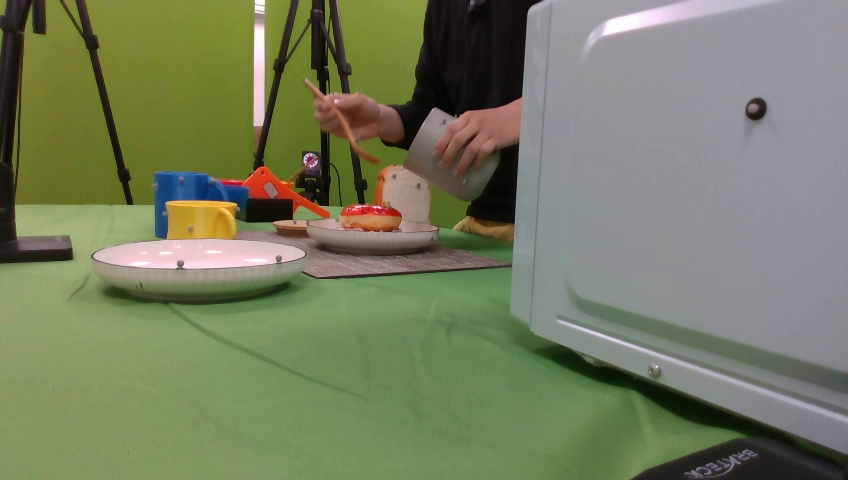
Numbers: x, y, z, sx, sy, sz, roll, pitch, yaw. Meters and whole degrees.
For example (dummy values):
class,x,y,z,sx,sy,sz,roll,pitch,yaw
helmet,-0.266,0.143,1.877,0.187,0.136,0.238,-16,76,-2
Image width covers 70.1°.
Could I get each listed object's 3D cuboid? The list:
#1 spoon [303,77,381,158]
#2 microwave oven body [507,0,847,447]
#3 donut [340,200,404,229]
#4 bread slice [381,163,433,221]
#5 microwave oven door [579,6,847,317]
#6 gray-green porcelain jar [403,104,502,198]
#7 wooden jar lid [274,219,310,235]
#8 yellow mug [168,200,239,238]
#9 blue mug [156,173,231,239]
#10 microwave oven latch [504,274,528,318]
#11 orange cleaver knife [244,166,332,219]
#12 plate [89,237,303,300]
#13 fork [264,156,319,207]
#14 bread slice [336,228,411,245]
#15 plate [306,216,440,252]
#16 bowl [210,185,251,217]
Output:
class,x,y,z,sx,sy,sz,roll,pitch,yaw
spoon,-0.132,-0.195,0.956,0.021,0.193,0.042,-40,-17,7
microwave oven body,0.331,-0.042,0.425,0.444,0.260,0.324,-2,8,-31
donut,-0.081,-0.038,0.944,0.099,0.048,0.099,1,4,0
bread slice,-0.035,-0.076,1.125,0.107,0.134,0.018,-4,1,-25
microwave oven door,0.294,-0.067,0.570,0.358,0.243,0.039,-3,9,-31
gray-green porcelain jar,0.047,-0.132,0.927,0.126,0.105,0.106,28,9,1
wooden jar lid,-0.213,-0.023,1.080,0.108,0.020,0.108,3,7,0
yellow mug,-0.320,-0.023,0.904,0.130,0.064,0.100,9,11,36
blue mug,-0.381,-0.057,1.004,0.117,0.106,0.082,0,8,-12
microwave oven latch,0.100,0.041,0.471,0.079,0.029,0.030,-1,8,-28
orange cleaver knife,-0.301,-0.089,1.351,0.212,0.077,0.012,32,-11,-34
plate,-0.233,0.029,0.637,0.208,0.039,0.207,2,7,0
fork,-0.331,-0.144,1.506,0.207,0.018,0.028,-42,-20,22
bread slice,-0.074,-0.006,0.937,0.105,0.019,0.131,-2,5,-19
plate,-0.079,-0.011,0.950,0.209,0.038,0.209,2,7,0
bowl,-0.408,-0.064,1.155,0.151,0.077,0.151,2,8,0
